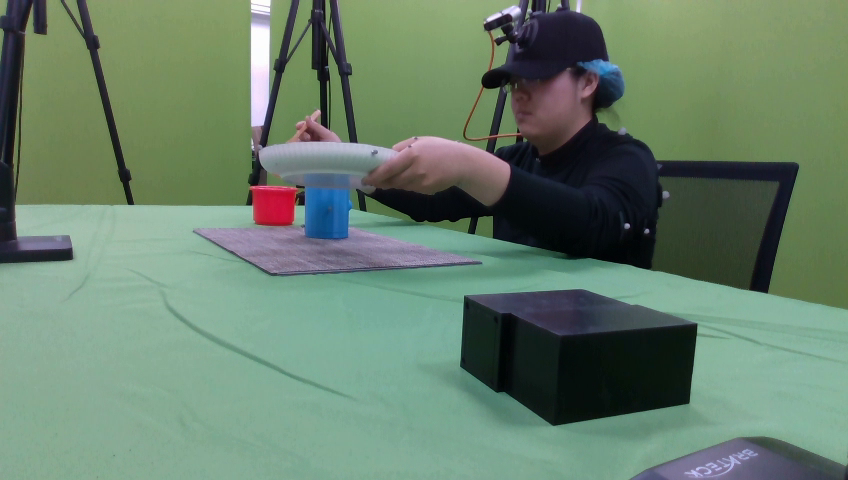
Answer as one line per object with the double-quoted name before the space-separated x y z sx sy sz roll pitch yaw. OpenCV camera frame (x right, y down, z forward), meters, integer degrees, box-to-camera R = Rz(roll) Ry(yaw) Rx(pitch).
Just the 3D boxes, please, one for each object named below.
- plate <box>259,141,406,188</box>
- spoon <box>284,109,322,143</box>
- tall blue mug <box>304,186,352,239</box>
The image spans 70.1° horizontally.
"plate" -0.129 -0.102 0.868 0.208 0.039 0.207 0 -3 0
"spoon" -0.251 -0.215 1.221 0.041 0.021 0.194 28 49 0
"tall blue mug" -0.178 -0.063 1.062 0.078 0.108 0.106 -5 10 -38
